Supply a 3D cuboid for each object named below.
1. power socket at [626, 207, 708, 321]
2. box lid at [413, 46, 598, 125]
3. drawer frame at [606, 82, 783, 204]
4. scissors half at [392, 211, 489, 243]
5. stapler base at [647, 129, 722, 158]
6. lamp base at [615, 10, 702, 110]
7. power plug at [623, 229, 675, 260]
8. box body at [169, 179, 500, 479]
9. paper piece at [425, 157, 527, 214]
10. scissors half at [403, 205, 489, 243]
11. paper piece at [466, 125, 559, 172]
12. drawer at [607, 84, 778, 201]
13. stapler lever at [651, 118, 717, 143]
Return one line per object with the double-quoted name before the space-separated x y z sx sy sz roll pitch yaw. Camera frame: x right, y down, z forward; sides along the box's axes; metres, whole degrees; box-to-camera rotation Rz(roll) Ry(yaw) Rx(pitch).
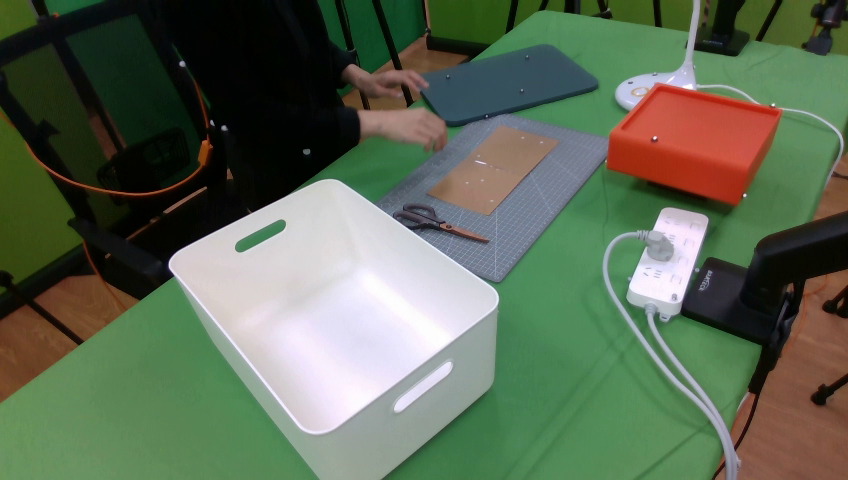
"power socket" 0.360 0.026 0.886 0.072 0.033 0.227 16 46 26
"box lid" 0.177 -0.360 1.382 0.373 0.015 0.261 -16 40 -11
"drawer frame" 0.441 -0.167 0.995 0.212 0.083 0.202 23 48 30
"scissors half" 0.025 -0.018 0.995 0.174 0.013 0.040 14 34 18
"stapler base" 0.439 -0.167 1.023 0.131 0.024 0.041 -16 25 -15
"lamp base" 0.484 -0.364 1.211 0.180 0.181 0.159 -15 41 -14
"power plug" 0.327 0.007 0.878 0.072 0.053 0.035 25 51 33
"box body" -0.110 0.103 0.761 0.255 0.161 0.361 -33 46 -27
"paper piece" 0.095 -0.103 1.089 0.134 0.004 0.136 22 48 30
"scissors half" 0.036 -0.026 1.011 0.174 0.013 0.040 26 34 33
"paper piece" 0.172 -0.177 1.167 0.137 0.009 0.136 21 44 30
"drawer" 0.438 -0.167 0.996 0.210 0.073 0.195 23 48 30
"stapler lever" 0.436 -0.192 1.014 0.118 0.040 0.026 -15 25 -16
